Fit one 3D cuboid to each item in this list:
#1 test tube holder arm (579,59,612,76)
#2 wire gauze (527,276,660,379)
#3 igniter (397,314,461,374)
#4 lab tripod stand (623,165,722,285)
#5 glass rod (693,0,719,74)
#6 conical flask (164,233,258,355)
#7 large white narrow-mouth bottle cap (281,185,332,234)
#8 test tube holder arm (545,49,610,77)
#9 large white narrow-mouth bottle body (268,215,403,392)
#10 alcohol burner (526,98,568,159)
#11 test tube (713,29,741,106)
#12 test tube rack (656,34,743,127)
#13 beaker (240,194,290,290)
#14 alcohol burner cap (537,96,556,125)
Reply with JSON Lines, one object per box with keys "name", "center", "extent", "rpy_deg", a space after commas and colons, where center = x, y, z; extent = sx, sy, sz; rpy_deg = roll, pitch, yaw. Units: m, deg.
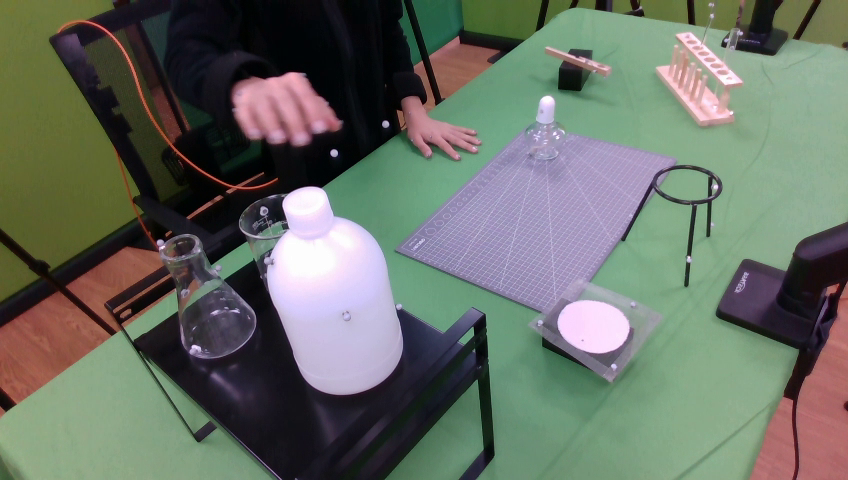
{"name": "test tube holder arm", "center": [0.363, -0.368, 1.289], "extent": [0.010, 0.015, 0.087], "rpy_deg": [-26, 43, -30]}
{"name": "wire gauze", "center": [0.213, 0.103, 0.763], "extent": [0.124, 0.011, 0.122], "rpy_deg": [30, 52, 35]}
{"name": "igniter", "center": [-0.059, 0.107, 0.862], "extent": [0.274, 0.025, 0.057], "rpy_deg": [28, 62, 34]}
{"name": "lab tripod stand", "center": [0.365, -0.030, 0.874], "extent": [0.148, 0.132, 0.147], "rpy_deg": [-6, 41, 6]}
{"name": "glass rod", "center": [0.561, -0.401, 1.214], "extent": [0.008, 0.200, 0.008], "rpy_deg": [-1, 48, 2]}
{"name": "conical flask", "center": [-0.217, 0.050, 0.601], "extent": [0.075, 0.122, 0.075], "rpy_deg": [-4, 40, 4]}
{"name": "large white narrow-mouth bottle cap", "center": [-0.093, -0.024, 0.477], "extent": [0.038, 0.024, 0.037], "rpy_deg": [-5, 40, 5]}
{"name": "test tube holder arm", "center": [0.330, -0.386, 1.314], "extent": [0.013, 0.015, 0.177], "rpy_deg": [-25, 43, -30]}
{"name": "large white narrow-mouth bottle body", "center": [-0.081, 0.041, 0.534], "extent": [0.102, 0.195, 0.101], "rpy_deg": [-5, 41, 5]}
{"name": "alcohol burner", "center": [0.228, -0.210, 1.118], "extent": [0.078, 0.119, 0.077], "rpy_deg": [-5, 43, 5]}
{"name": "test tube", "center": [0.572, -0.324, 1.146], "extent": [0.017, 0.151, 0.017], "rpy_deg": [-3, 39, 3]}
{"name": "test tube rack", "center": [0.553, -0.331, 1.233], "extent": [0.067, 0.085, 0.241], "rpy_deg": [-7, 40, 2]}
{"name": "beaker", "center": [-0.144, 0.009, 0.656], "extent": [0.084, 0.101, 0.073], "rpy_deg": [-25, 43, -19]}
{"name": "alcohol burner cap", "center": [0.223, -0.237, 1.095], "extent": [0.034, 0.048, 0.033], "rpy_deg": [-1, 42, 1]}
